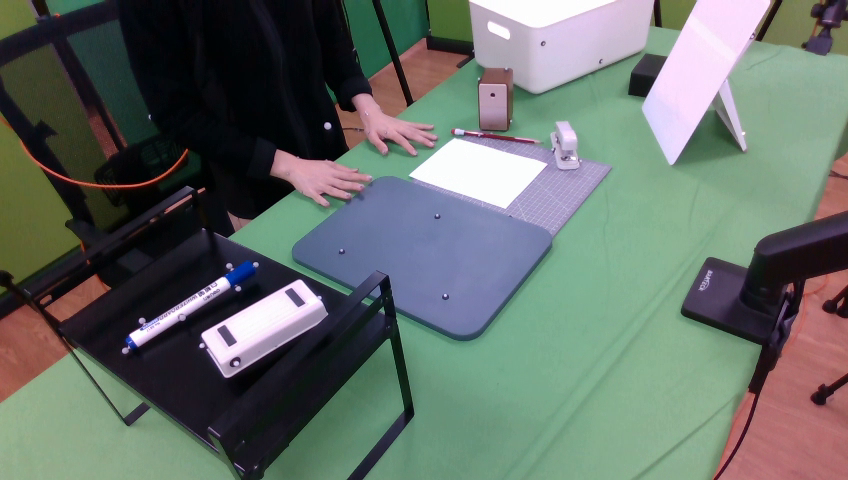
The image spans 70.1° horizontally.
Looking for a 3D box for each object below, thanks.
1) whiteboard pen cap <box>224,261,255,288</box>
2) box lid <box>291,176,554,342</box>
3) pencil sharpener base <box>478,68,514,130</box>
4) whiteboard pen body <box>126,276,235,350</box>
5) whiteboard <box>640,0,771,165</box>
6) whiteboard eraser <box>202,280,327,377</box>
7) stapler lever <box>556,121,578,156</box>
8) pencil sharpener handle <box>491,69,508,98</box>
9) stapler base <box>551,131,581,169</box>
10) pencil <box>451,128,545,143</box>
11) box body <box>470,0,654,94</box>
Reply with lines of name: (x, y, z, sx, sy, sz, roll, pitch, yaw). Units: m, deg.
whiteboard pen cap: (-0.207, 0.039, 0.677, 0.033, 0.018, 0.018, -36, 47, -18)
box lid: (-0.005, 0.011, 0.971, 0.368, 0.015, 0.264, 21, 49, 30)
pencil sharpener base: (0.148, -0.286, 1.225, 0.061, 0.107, 0.076, 5, 41, 15)
whiteboard pen body: (-0.251, 0.070, 0.649, 0.141, 0.017, 0.017, -36, 48, -25)
whiteboard: (0.543, -0.299, 1.076, 0.144, 0.305, 0.216, 12, 40, -7)
whiteboard eraser: (-0.156, 0.088, 0.600, 0.113, 0.042, 0.055, -30, 47, -24)
stapler lever: (0.266, -0.198, 1.128, 0.027, 0.040, 0.117, 0, 38, 3)
pencil sharpener handle: (0.155, -0.329, 1.254, 0.036, 0.068, 0.030, 17, 43, 4)
stapler base: (0.268, -0.178, 1.142, 0.041, 0.024, 0.130, 0, 37, 3)
pencil: (0.145, -0.207, 1.205, 0.193, 0.012, 0.012, 11, 44, 20)
box body: (0.319, -0.498, 1.405, 0.365, 0.161, 0.252, -26, 43, -21)
